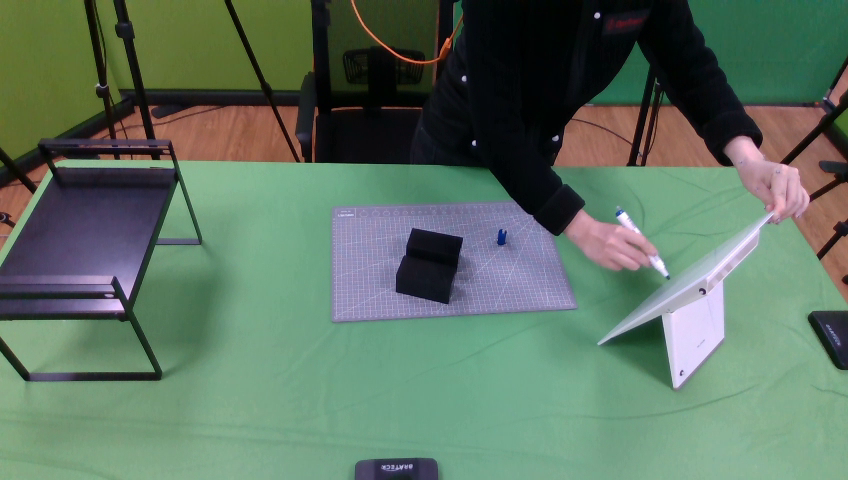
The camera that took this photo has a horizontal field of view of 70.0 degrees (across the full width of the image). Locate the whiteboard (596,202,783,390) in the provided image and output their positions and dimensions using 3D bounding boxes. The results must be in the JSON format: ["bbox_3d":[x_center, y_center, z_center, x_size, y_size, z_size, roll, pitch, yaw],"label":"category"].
[{"bbox_3d":[0.460,0.112,0.967,0.217,0.306,0.143,-31,74,-29],"label":"whiteboard"}]

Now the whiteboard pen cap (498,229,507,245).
[{"bbox_3d":[0.156,-0.005,1.202,0.018,0.033,0.018,0,44,0],"label":"whiteboard pen cap"}]

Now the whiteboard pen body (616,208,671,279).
[{"bbox_3d":[0.364,0.007,1.002,0.017,0.017,0.140,-35,86,-31],"label":"whiteboard pen body"}]
